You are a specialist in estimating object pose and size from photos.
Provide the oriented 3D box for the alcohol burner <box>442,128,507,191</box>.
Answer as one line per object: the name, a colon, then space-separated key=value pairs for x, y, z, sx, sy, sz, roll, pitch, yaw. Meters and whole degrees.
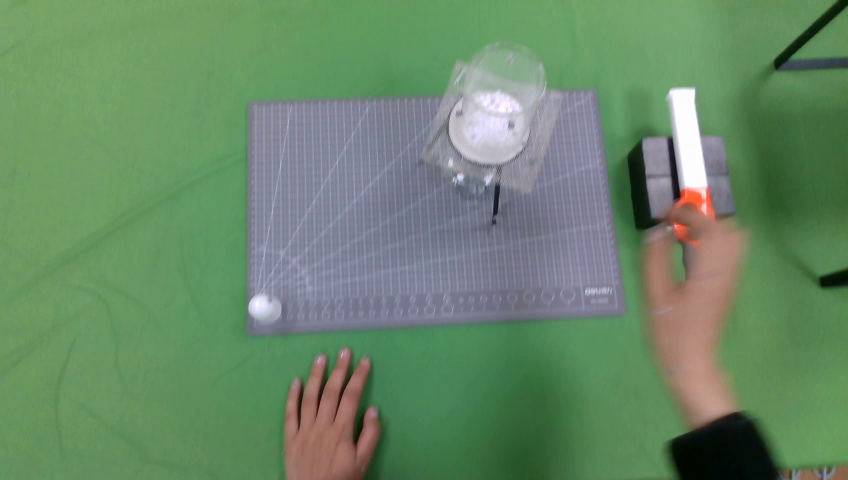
alcohol burner: x=0.060 y=-0.100 z=0.705 sx=0.078 sy=0.119 sz=0.077 roll=0 pitch=78 yaw=-1

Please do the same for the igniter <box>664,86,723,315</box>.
igniter: x=0.310 y=-0.051 z=0.702 sx=0.057 sy=0.025 sz=0.275 roll=-1 pitch=76 yaw=1

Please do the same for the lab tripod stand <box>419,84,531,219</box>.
lab tripod stand: x=0.068 y=-0.112 z=0.698 sx=0.148 sy=0.132 sz=0.147 roll=1 pitch=75 yaw=-1

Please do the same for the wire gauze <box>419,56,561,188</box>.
wire gauze: x=0.072 y=-0.124 z=0.634 sx=0.121 sy=0.011 sz=0.124 roll=20 pitch=73 yaw=0

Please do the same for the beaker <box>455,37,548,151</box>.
beaker: x=0.069 y=-0.135 z=0.587 sx=0.084 sy=0.101 sz=0.073 roll=-3 pitch=75 yaw=-2

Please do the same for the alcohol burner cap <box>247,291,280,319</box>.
alcohol burner cap: x=-0.186 y=0.072 z=0.693 sx=0.034 sy=0.048 sz=0.033 roll=1 pitch=77 yaw=-3
